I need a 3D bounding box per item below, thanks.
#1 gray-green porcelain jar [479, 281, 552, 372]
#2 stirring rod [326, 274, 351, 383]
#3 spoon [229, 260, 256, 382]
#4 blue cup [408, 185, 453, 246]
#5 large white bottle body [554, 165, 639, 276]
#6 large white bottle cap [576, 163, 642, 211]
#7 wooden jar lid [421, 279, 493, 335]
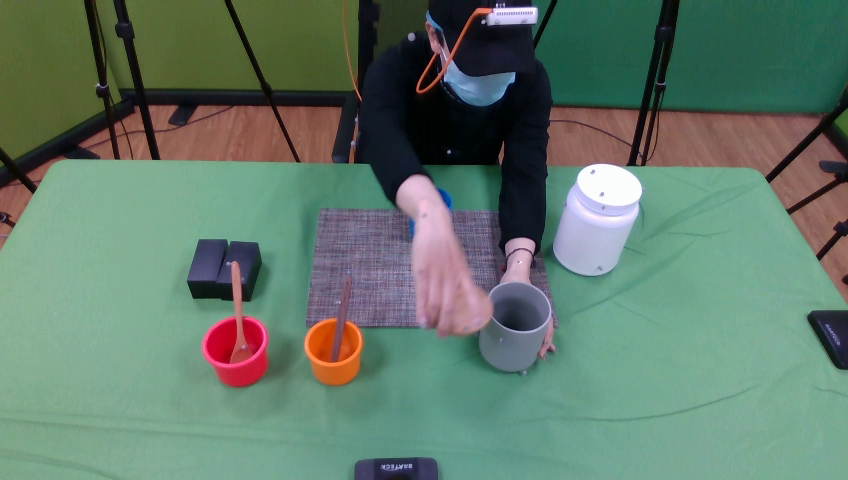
[{"bbox_3d":[0.146,0.147,0.993,0.106,0.127,0.105,2,46,-2],"label":"gray-green porcelain jar"},{"bbox_3d":[-0.137,0.142,0.971,0.014,0.006,0.176,9,88,2],"label":"stirring rod"},{"bbox_3d":[-0.294,0.129,0.966,0.042,0.021,0.193,-4,91,-9],"label":"spoon"},{"bbox_3d":[0.008,-0.042,1.177,0.093,0.101,0.092,3,48,-3],"label":"blue cup"},{"bbox_3d":[0.326,-0.037,1.141,0.131,0.185,0.130,2,46,-2],"label":"large white bottle body"},{"bbox_3d":[0.330,-0.096,1.081,0.115,0.018,0.114,2,46,-2],"label":"large white bottle cap"},{"bbox_3d":[0.049,0.102,0.907,0.108,0.021,0.107,4,41,-3],"label":"wooden jar lid"}]
